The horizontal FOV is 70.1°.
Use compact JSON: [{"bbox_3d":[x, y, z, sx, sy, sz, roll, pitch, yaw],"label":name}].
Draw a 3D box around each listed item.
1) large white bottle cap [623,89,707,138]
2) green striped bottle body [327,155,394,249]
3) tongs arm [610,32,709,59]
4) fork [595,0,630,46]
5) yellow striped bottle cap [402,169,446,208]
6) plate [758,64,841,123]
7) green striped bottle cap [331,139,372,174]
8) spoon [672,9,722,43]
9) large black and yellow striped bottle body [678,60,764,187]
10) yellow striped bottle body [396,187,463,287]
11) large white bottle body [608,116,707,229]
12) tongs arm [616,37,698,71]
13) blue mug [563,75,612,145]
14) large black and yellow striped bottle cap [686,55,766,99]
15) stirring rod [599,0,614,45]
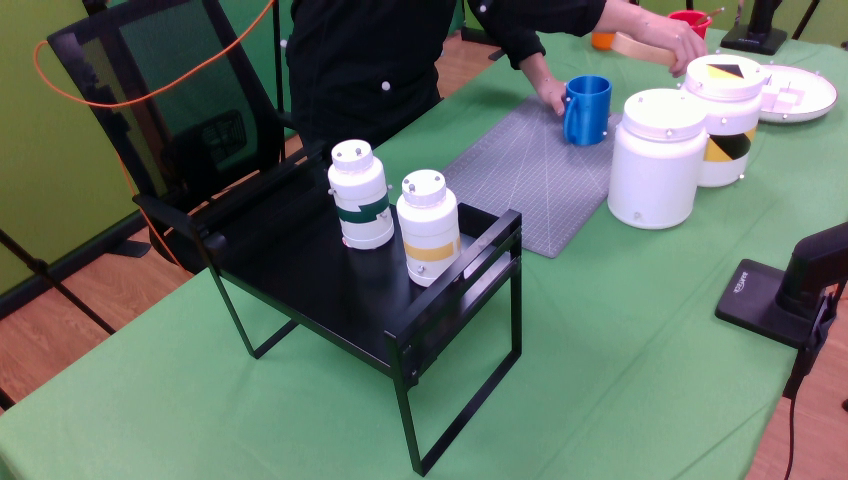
[{"bbox_3d":[0.352,-0.187,0.886,0.115,0.018,0.114,-4,41,4],"label":"large white bottle cap"},{"bbox_3d":[-0.073,-0.053,0.699,0.063,0.120,0.063,-5,41,4],"label":"green striped bottle body"},{"bbox_3d":[0.476,-0.332,1.107,0.388,0.026,0.050,2,37,-31],"label":"tongs arm"},{"bbox_3d":[0.480,-0.556,1.452,0.028,0.019,0.207,41,103,40],"label":"fork"},{"bbox_3d":[0.000,-0.052,0.605,0.044,0.019,0.044,-4,42,4],"label":"yellow striped bottle cap"},{"bbox_3d":[0.694,-0.283,1.189,0.207,0.039,0.206,-4,41,4],"label":"plate"},{"bbox_3d":[-0.080,-0.092,0.665,0.044,0.020,0.044,-3,40,3],"label":"green striped bottle cap"},{"bbox_3d":[0.606,-0.476,1.345,0.042,0.021,0.193,-6,-3,-2],"label":"spoon"},{"bbox_3d":[0.483,-0.196,1.008,0.131,0.185,0.130,-4,41,4],"label":"large black and yellow striped bottle body"},{"bbox_3d":[0.006,-0.013,0.638,0.063,0.121,0.062,-5,41,4],"label":"yellow striped bottle body"},{"bbox_3d":[0.361,-0.123,0.941,0.130,0.185,0.130,-5,41,4],"label":"large white bottle body"},{"bbox_3d":[0.489,-0.314,1.087,0.391,0.028,0.028,0,41,-33],"label":"tongs arm"},{"bbox_3d":[0.299,-0.238,1.142,0.081,0.106,0.117,29,53,35],"label":"blue mug"},{"bbox_3d":[0.474,-0.258,0.952,0.115,0.019,0.114,-5,41,5],"label":"large black and yellow striped bottle cap"},{"bbox_3d":[0.437,-0.551,1.462,0.014,0.006,0.175,-11,83,0],"label":"stirring rod"}]
